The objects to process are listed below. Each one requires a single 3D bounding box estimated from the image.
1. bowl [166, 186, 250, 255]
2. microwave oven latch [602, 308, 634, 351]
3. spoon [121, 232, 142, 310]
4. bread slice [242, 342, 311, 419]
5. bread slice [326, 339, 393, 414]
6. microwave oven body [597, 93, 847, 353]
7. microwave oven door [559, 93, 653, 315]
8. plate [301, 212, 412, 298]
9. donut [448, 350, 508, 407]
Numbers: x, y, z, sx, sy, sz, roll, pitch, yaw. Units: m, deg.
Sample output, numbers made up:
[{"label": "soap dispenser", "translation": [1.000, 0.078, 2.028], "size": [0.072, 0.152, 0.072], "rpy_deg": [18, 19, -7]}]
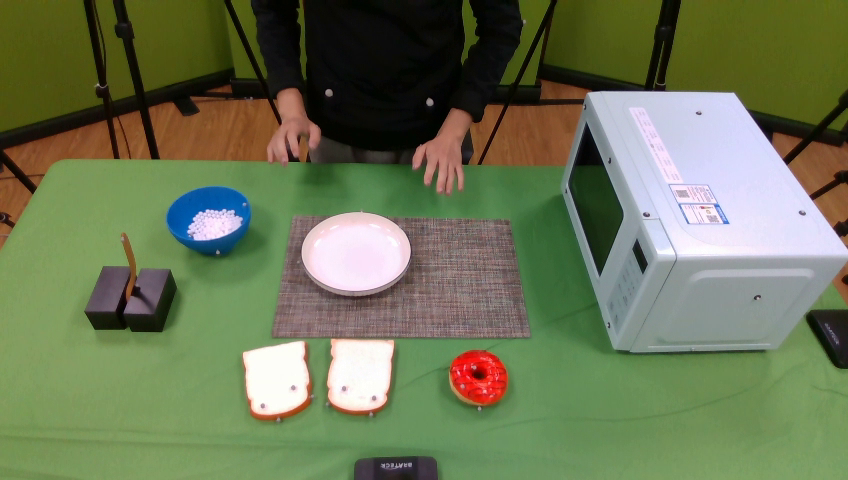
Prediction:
[{"label": "bowl", "translation": [-0.403, -0.024, 1.154], "size": [0.151, 0.077, 0.150], "rpy_deg": [2, 46, -2]}, {"label": "microwave oven latch", "translation": [0.332, 0.153, 1.044], "size": [0.030, 0.029, 0.078], "rpy_deg": [-1, 45, -4]}, {"label": "spoon", "translation": [-0.479, 0.051, 0.993], "size": [0.022, 0.194, 0.041], "rpy_deg": [13, 46, -11]}, {"label": "bread slice", "translation": [-0.234, 0.223, 0.970], "size": [0.105, 0.019, 0.130], "rpy_deg": [-10, 47, -13]}, {"label": "bread slice", "translation": [-0.104, 0.219, 0.983], "size": [0.107, 0.018, 0.133], "rpy_deg": [0, 45, -4]}, {"label": "microwave oven body", "translation": [0.475, -0.041, 1.109], "size": [0.326, 0.261, 0.438], "rpy_deg": [-1, 45, -4]}, {"label": "microwave oven door", "translation": [0.327, -0.074, 1.123], "size": [0.039, 0.245, 0.353], "rpy_deg": [-1, 46, -5]}, {"label": "plate", "translation": [-0.127, 0.031, 1.145], "size": [0.208, 0.039, 0.206], "rpy_deg": [2, 46, -2]}, {"label": "donut", "translation": [0.087, 0.223, 0.977], "size": [0.099, 0.048, 0.098], "rpy_deg": [4, 46, -4]}]
